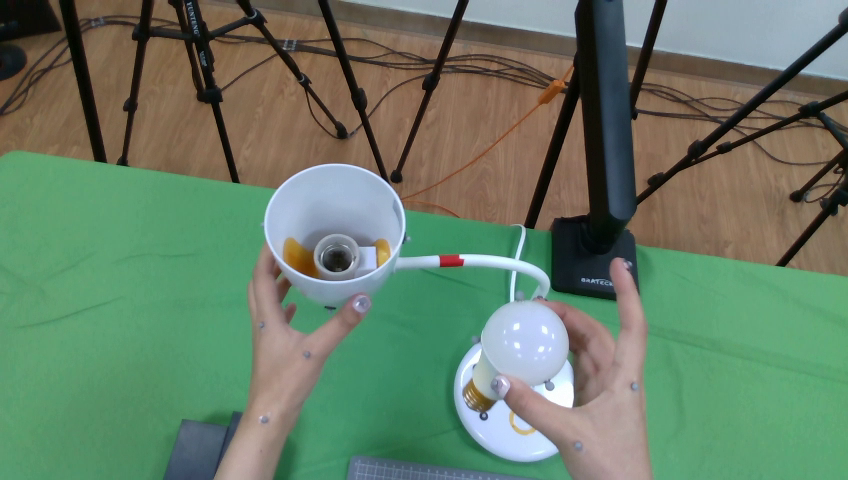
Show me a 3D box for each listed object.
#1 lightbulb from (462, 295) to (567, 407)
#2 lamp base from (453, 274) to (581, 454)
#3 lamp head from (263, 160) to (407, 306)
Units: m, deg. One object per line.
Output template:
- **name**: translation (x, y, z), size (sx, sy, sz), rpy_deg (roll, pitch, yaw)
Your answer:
- **lightbulb**: translation (0.059, 0.085, 0.438), size (0.060, 0.108, 0.059), rpy_deg (21, 37, -16)
- **lamp base**: translation (0.119, 0.131, 0.690), size (0.161, 0.181, 0.177), rpy_deg (-4, 56, -9)
- **lamp head**: translation (-0.072, 0.007, 0.530), size (0.112, 0.124, 0.111), rpy_deg (0, 63, 0)
